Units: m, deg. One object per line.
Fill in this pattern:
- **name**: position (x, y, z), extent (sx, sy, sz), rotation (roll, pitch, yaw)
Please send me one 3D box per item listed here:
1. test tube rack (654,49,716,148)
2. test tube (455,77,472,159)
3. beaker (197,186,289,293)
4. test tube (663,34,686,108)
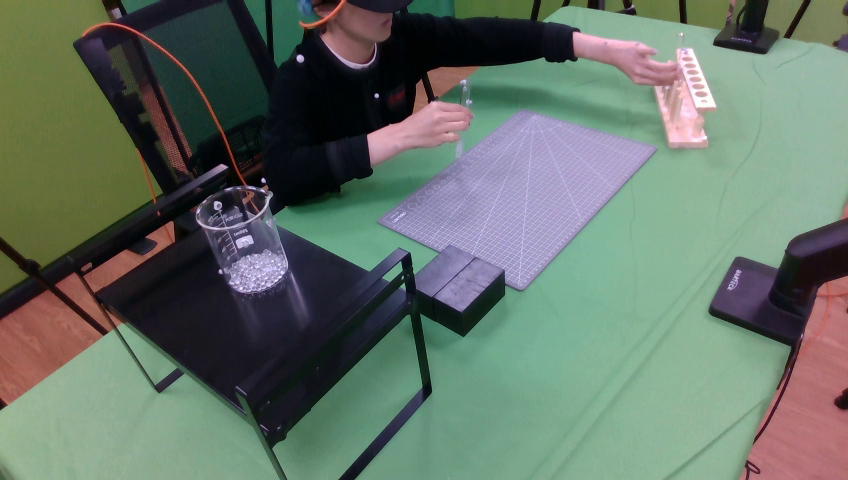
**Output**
- **test tube rack**: position (0.502, -0.281, 1.176), extent (0.066, 0.085, 0.241), rotation (1, 41, 11)
- **test tube**: position (0.070, -0.212, 1.067), extent (0.017, 0.150, 0.017), rotation (4, 33, -2)
- **beaker**: position (-0.192, 0.001, 0.666), extent (0.084, 0.101, 0.073), rotation (-33, 47, -27)
- **test tube**: position (0.480, -0.322, 1.160), extent (0.017, 0.151, 0.017), rotation (-3, 42, 4)
